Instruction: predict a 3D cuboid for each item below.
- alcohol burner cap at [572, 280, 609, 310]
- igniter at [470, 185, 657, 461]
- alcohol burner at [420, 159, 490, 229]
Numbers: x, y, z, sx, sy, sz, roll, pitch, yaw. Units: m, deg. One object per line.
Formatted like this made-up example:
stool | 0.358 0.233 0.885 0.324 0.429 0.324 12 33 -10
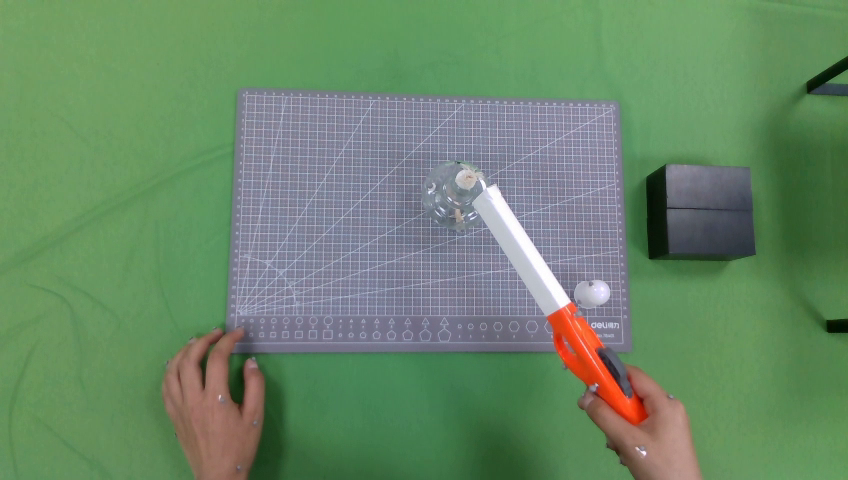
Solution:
alcohol burner cap | 0.187 0.060 0.674 0.034 0.048 0.033 1 80 -4
igniter | 0.125 0.073 0.546 0.025 0.057 0.275 -26 80 -34
alcohol burner | 0.036 -0.052 0.642 0.078 0.119 0.077 1 81 -7
